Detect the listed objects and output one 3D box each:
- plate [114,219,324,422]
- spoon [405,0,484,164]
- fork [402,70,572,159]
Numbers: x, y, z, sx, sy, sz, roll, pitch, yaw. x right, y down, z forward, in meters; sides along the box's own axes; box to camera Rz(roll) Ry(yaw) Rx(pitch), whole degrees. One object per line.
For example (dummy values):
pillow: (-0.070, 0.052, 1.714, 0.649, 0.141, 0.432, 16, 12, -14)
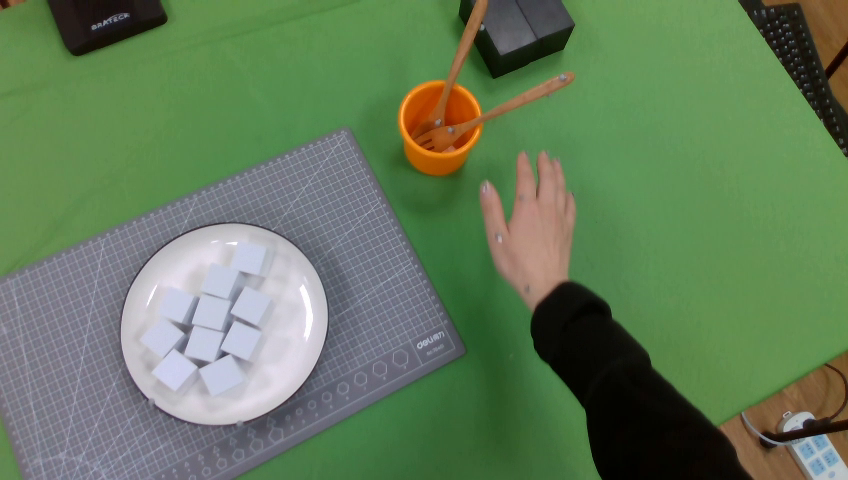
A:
plate: (-0.207, 0.083, 0.630, 0.208, 0.039, 0.206, 1, 75, -4)
spoon: (0.025, -0.169, 0.656, 0.041, 0.195, 0.021, 29, 33, 8)
fork: (0.061, -0.132, 0.644, 0.207, 0.018, 0.028, -20, 93, 35)
